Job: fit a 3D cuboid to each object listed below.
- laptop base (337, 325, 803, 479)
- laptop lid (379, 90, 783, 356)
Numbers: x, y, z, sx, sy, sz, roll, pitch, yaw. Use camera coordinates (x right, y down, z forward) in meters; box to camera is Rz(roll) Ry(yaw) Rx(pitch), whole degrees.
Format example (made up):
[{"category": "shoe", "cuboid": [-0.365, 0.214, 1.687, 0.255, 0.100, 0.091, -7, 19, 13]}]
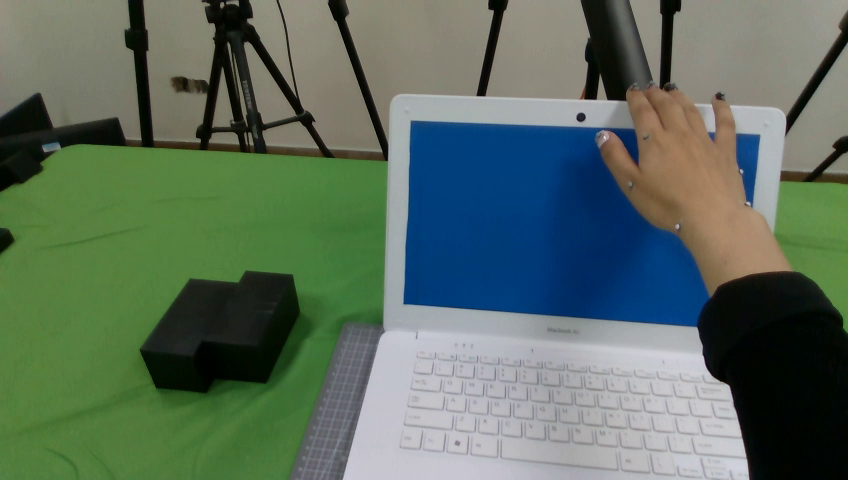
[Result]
[{"category": "laptop base", "cuboid": [0.114, 0.171, 0.488, 0.354, 0.023, 0.233, 4, 40, 6]}, {"category": "laptop lid", "cuboid": [0.135, -0.013, 0.563, 0.356, 0.242, 0.013, 2, 8, 6]}]
